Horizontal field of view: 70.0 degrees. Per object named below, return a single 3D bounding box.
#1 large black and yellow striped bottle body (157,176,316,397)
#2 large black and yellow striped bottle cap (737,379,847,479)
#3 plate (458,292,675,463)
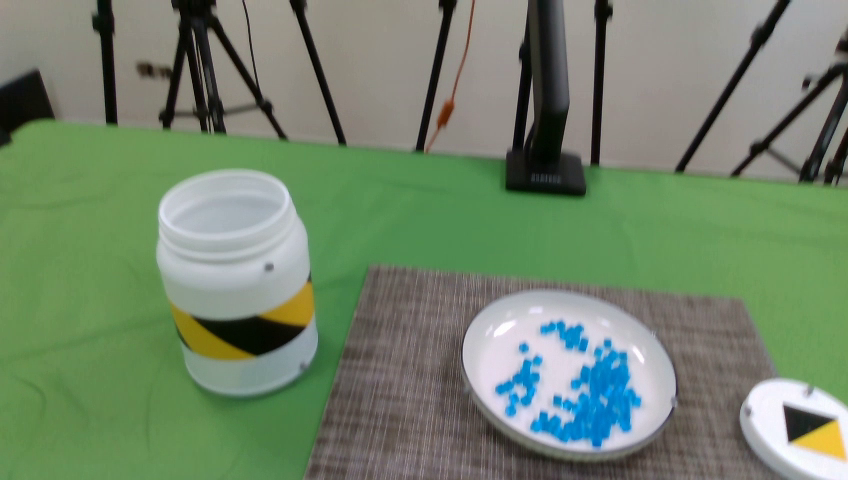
[{"bbox_3d":[-0.175,0.044,0.579,0.131,0.185,0.129,2,36,-1],"label":"large black and yellow striped bottle body"},{"bbox_3d":[0.355,0.179,0.565,0.115,0.019,0.114,5,37,-3],"label":"large black and yellow striped bottle cap"},{"bbox_3d":[0.136,0.132,0.597,0.208,0.039,0.205,2,36,-1],"label":"plate"}]
